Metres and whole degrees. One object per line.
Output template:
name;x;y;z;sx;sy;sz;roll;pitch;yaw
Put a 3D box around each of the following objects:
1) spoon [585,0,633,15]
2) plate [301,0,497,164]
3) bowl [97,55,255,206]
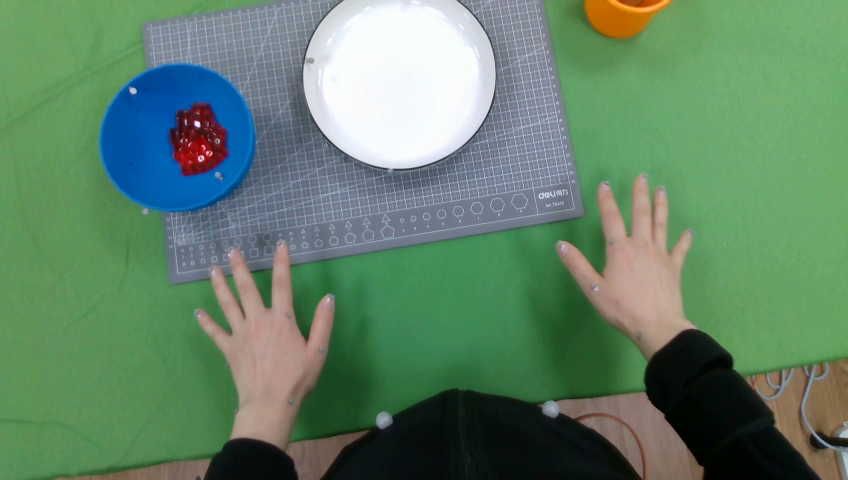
spoon;0.253;-0.269;0.611;0.022;0.192;0.041;8;83;-43
plate;-0.026;-0.181;0.653;0.209;0.038;0.208;0;83;1
bowl;-0.241;-0.103;0.624;0.151;0.077;0.151;0;83;0
